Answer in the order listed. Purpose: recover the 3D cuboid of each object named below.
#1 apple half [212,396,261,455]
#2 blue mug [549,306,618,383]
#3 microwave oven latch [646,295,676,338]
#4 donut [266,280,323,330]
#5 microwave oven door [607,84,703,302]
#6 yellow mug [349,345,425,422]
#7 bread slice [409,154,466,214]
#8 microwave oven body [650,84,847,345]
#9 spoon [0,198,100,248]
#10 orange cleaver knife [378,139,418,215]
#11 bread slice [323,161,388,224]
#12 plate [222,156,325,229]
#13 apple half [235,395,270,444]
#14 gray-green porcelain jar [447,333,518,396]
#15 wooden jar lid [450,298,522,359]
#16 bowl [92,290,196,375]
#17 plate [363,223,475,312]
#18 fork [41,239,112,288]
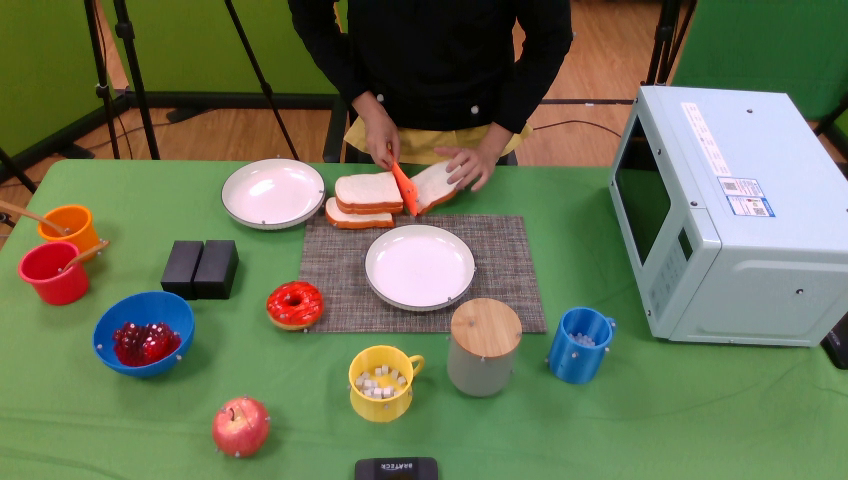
[{"bbox_3d":[-0.276,0.276,0.877,0.053,0.075,0.080,-29,58,-21],"label":"apple half"},{"bbox_3d":[0.269,0.167,0.997,0.116,0.106,0.082,-19,51,-21],"label":"blue mug"},{"bbox_3d":[0.412,0.133,1.061,0.030,0.029,0.078,3,46,0],"label":"microwave oven latch"},{"bbox_3d":[-0.223,0.112,1.051,0.099,0.048,0.098,2,46,-2],"label":"donut"},{"bbox_3d":[0.424,-0.096,1.138,0.039,0.245,0.353,3,46,-1],"label":"microwave oven door"},{"bbox_3d":[-0.054,0.217,0.954,0.131,0.064,0.099,-23,52,-25],"label":"yellow mug"},{"bbox_3d":[0.027,-0.122,1.274,0.131,0.019,0.104,-33,49,8],"label":"bread slice"},{"bbox_3d":[0.569,-0.054,1.116,0.326,0.261,0.439,2,46,-1],"label":"microwave oven body"},{"bbox_3d":[-0.684,-0.035,1.092,0.021,0.195,0.041,-34,41,26],"label":"spoon"},{"bbox_3d":[-0.056,-0.137,1.284,0.012,0.077,0.210,-11,46,-23],"label":"orange cleaver knife"},{"bbox_3d":[-0.141,-0.093,1.212,0.134,0.018,0.106,-26,50,14],"label":"bread slice"},{"bbox_3d":[-0.308,-0.095,1.251,0.209,0.038,0.208,2,46,-2],"label":"plate"},{"bbox_3d":[-0.245,0.260,0.893,0.033,0.082,0.081,-29,55,-22],"label":"apple half"},{"bbox_3d":[0.091,0.178,0.960,0.106,0.127,0.105,2,46,-2],"label":"gray-green porcelain jar"},{"bbox_3d":[0.093,0.135,0.914,0.108,0.021,0.107,2,49,-3],"label":"wooden jar lid"},{"bbox_3d":[-0.436,0.161,0.971,0.151,0.077,0.150,2,46,-2],"label":"bowl"},{"bbox_3d":[-0.009,0.054,1.126,0.208,0.039,0.206,2,46,-2],"label":"plate"},{"bbox_3d":[-0.591,0.040,1.028,0.207,0.019,0.028,-27,36,29],"label":"fork"}]
